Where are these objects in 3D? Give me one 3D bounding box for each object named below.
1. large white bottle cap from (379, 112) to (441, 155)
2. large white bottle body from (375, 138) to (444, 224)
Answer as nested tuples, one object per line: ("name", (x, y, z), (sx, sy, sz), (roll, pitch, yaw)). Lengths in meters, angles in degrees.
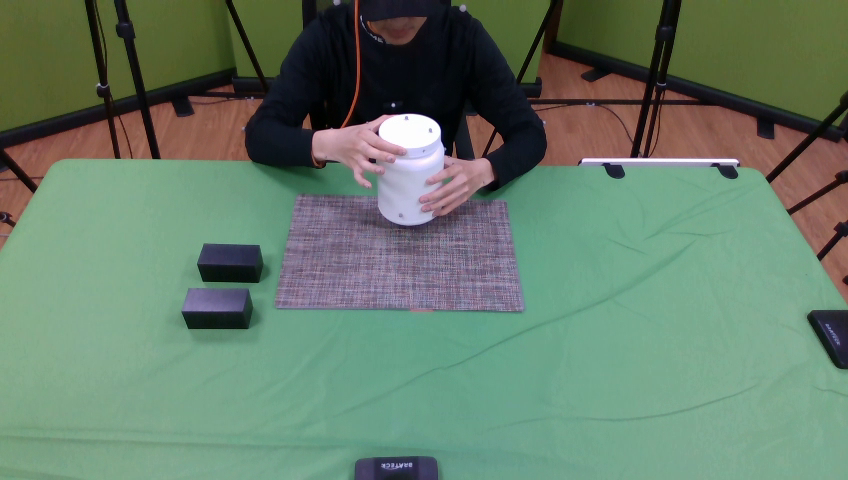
("large white bottle cap", (-0.026, -0.197, 1.113), (0.115, 0.018, 0.114), (1, 44, 0))
("large white bottle body", (-0.028, -0.136, 1.171), (0.130, 0.185, 0.130), (1, 43, -1))
